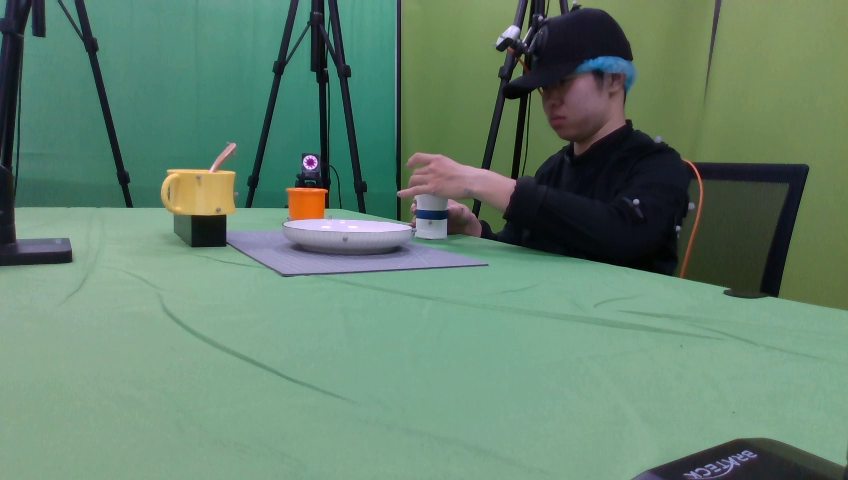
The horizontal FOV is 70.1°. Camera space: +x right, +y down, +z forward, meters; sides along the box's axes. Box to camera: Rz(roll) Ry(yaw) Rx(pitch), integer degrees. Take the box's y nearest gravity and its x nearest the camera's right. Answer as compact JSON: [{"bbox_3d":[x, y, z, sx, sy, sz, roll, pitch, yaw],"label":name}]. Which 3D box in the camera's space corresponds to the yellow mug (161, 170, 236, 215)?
[{"bbox_3d":[-0.353,-0.074,0.935,0.099,0.064,0.131,5,9,21],"label":"yellow mug"}]

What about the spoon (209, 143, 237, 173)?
[{"bbox_3d":[-0.341,-0.113,0.990,0.041,0.021,0.193,1,40,6],"label":"spoon"}]

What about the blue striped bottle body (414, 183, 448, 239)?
[{"bbox_3d":[0.014,-0.065,1.166,0.063,0.120,0.063,2,8,0],"label":"blue striped bottle body"}]

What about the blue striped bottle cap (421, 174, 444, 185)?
[{"bbox_3d":[0.017,-0.116,1.159,0.044,0.020,0.044,-2,4,0],"label":"blue striped bottle cap"}]

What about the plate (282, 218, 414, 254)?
[{"bbox_3d":[-0.121,-0.007,0.971,0.208,0.039,0.207,2,7,0],"label":"plate"}]
